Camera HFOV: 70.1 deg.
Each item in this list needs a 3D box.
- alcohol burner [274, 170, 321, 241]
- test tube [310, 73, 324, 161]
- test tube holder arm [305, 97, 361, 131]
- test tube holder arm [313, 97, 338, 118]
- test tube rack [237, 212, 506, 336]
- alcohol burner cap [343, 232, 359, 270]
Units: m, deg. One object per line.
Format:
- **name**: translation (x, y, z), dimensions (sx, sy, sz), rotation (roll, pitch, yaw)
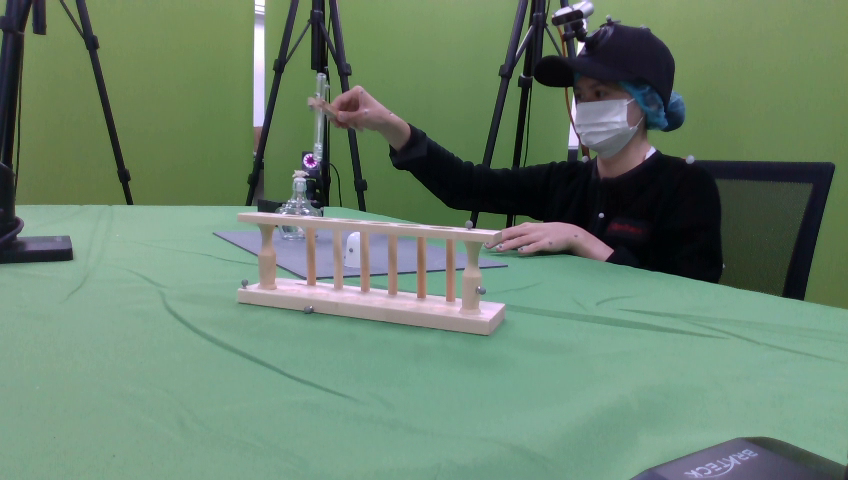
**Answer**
- **alcohol burner**: translation (-0.212, -0.058, 1.015), dimensions (0.078, 0.119, 0.078), rotation (4, 5, 0)
- **test tube**: translation (-0.180, -0.207, 1.017), dimensions (0.017, 0.150, 0.017), rotation (2, -4, 0)
- **test tube holder arm**: translation (-0.159, -0.224, 1.084), dimensions (0.013, 0.015, 0.179), rotation (4, -3, 21)
- **test tube holder arm**: translation (-0.168, -0.227, 1.039), dimensions (0.010, 0.015, 0.088), rotation (4, -3, 13)
- **test tube rack**: translation (-0.049, 0.024, 0.552), dimensions (0.242, 0.085, 0.067), rotation (5, 8, 18)
- **alcohol burner cap**: translation (-0.087, 0.013, 0.777), dimensions (0.034, 0.048, 0.034), rotation (3, 7, 0)
